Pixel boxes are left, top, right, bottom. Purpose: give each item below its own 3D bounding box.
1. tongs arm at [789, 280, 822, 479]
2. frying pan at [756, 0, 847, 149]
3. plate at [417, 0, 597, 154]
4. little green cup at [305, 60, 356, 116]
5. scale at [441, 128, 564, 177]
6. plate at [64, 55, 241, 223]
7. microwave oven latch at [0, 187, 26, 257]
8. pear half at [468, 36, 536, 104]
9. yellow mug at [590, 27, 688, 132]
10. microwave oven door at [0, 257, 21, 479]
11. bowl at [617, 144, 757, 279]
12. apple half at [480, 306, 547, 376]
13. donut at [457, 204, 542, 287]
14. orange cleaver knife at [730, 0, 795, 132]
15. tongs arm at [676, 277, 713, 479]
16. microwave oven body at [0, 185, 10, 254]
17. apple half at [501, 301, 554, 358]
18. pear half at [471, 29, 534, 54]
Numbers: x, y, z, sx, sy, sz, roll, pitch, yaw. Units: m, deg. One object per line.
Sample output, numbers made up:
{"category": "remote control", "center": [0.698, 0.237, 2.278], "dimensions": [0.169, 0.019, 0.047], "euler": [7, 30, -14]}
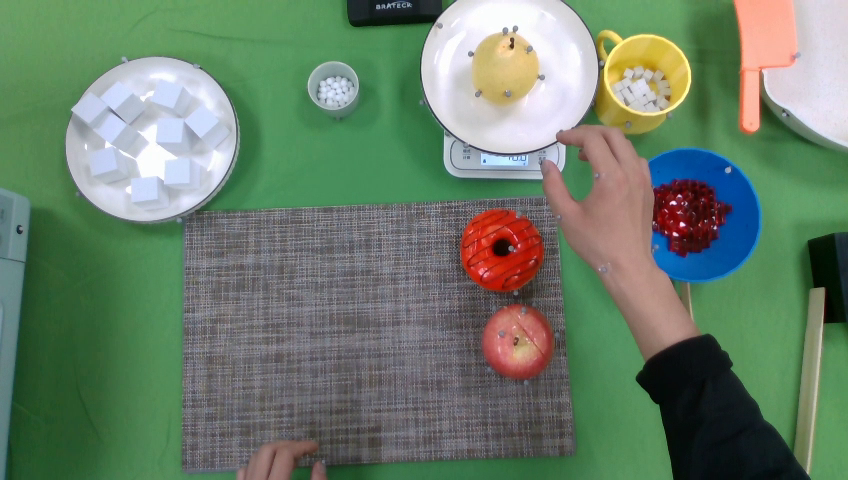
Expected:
{"category": "tongs arm", "center": [0.416, 0.234, 0.683], "dimensions": [0.028, 0.028, 0.386], "euler": [13, 82, -6]}
{"category": "frying pan", "center": [0.571, -0.154, 0.698], "dimensions": [0.307, 0.103, 0.484], "euler": [-30, 74, -3]}
{"category": "plate", "center": [0.096, -0.199, 0.713], "dimensions": [0.209, 0.038, 0.208], "euler": [0, 81, 0]}
{"category": "little green cup", "center": [-0.112, -0.184, 0.743], "dimensions": [0.061, 0.039, 0.061], "euler": [0, 81, 1]}
{"category": "scale", "center": [0.097, -0.179, 0.743], "dimensions": [0.148, 0.031, 0.200], "euler": [1, 82, 1]}
{"category": "plate", "center": [-0.323, -0.120, 0.736], "dimensions": [0.208, 0.039, 0.207], "euler": [0, 81, 1]}
{"category": "microwave oven latch", "center": [-0.486, -0.020, 0.704], "dimensions": [0.030, 0.029, 0.079], "euler": [2, 82, 1]}
{"category": "pear half", "center": [0.088, -0.186, 0.667], "dimensions": [0.076, 0.110, 0.056], "euler": [-6, 81, 3]}
{"category": "yellow mug", "center": [0.245, -0.201, 0.727], "dimensions": [0.100, 0.064, 0.130], "euler": [-35, 82, -4]}
{"category": "microwave oven door", "center": [-0.490, 0.180, 0.572], "dimensions": [0.039, 0.244, 0.354], "euler": [-1, 81, 1]}
{"category": "bowl", "center": [0.288, -0.027, 0.696], "dimensions": [0.151, 0.077, 0.151], "euler": [0, 82, 1]}
{"category": "apple half", "center": [0.092, 0.119, 0.675], "dimensions": [0.053, 0.075, 0.080], "euler": [-39, 85, -2]}
{"category": "donut", "center": [0.087, 0.006, 0.706], "dimensions": [0.099, 0.048, 0.098], "euler": [0, 83, 2]}
{"category": "orange cleaver knife", "center": [0.384, -0.226, 0.692], "dimensions": [0.077, 0.012, 0.210], "euler": [2, 82, 4]}
{"category": "tongs arm", "center": [0.329, 0.230, 0.679], "dimensions": [0.051, 0.026, 0.383], "euler": [-2, 83, -5]}
{"category": "microwave oven body", "center": [-0.636, 0.140, 0.585], "dimensions": [0.326, 0.261, 0.440], "euler": [0, 82, 0]}
{"category": "apple half", "center": [0.122, 0.093, 0.677], "dimensions": [0.033, 0.081, 0.081], "euler": [-41, 83, -1]}
{"category": "pear half", "center": [0.087, -0.219, 0.681], "dimensions": [0.070, 0.088, 0.031], "euler": [-7, 81, 2]}
